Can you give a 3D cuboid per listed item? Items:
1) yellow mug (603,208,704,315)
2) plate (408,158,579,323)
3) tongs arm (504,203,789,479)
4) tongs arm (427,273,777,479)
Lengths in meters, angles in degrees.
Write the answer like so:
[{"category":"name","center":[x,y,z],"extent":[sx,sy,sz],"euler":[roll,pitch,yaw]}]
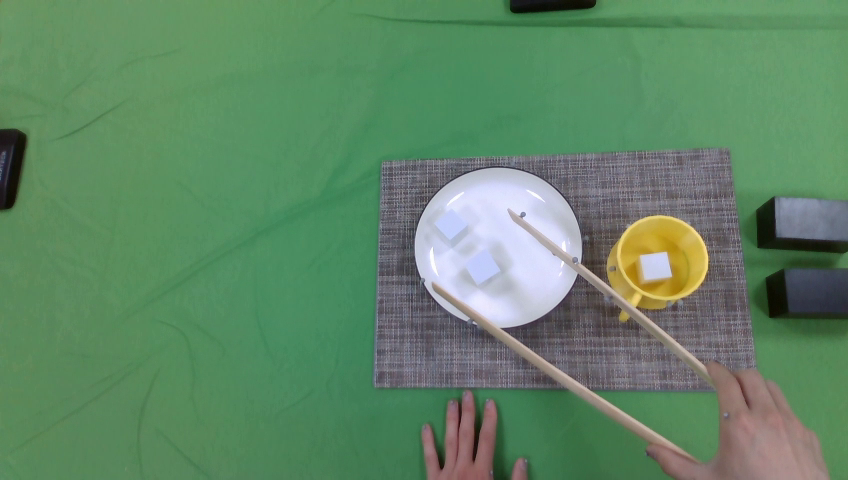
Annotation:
[{"category":"yellow mug","center":[0.260,0.032,0.713],"extent":[0.099,0.064,0.130],"euler":[30,81,12]},{"category":"plate","center":[0.085,0.002,0.754],"extent":[0.207,0.039,0.206],"euler":[-1,76,6]},{"category":"tongs arm","center":[0.190,0.076,0.604],"extent":[0.051,0.027,0.380],"euler":[-39,50,-10]},{"category":"tongs arm","center":[0.139,0.123,0.592],"extent":[0.383,0.028,0.028],"euler":[31,67,37]}]
